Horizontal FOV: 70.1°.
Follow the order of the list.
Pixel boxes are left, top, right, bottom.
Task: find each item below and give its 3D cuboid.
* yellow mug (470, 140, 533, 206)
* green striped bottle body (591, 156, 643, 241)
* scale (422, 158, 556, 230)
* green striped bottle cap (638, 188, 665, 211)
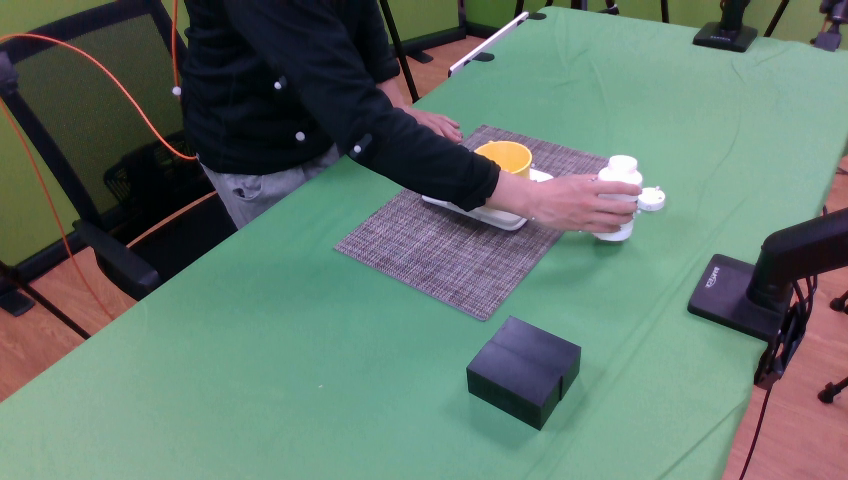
[{"bbox_3d":[0.125,-0.121,1.004,0.100,0.064,0.130,-13,40,-5],"label":"yellow mug"},{"bbox_3d":[0.288,-0.063,0.899,0.063,0.119,0.063,-1,33,1],"label":"green striped bottle body"},{"bbox_3d":[0.110,-0.089,1.042,0.199,0.032,0.149,23,48,31],"label":"scale"},{"bbox_3d":[0.375,-0.066,0.998,0.044,0.020,0.044,-8,38,7],"label":"green striped bottle cap"}]
